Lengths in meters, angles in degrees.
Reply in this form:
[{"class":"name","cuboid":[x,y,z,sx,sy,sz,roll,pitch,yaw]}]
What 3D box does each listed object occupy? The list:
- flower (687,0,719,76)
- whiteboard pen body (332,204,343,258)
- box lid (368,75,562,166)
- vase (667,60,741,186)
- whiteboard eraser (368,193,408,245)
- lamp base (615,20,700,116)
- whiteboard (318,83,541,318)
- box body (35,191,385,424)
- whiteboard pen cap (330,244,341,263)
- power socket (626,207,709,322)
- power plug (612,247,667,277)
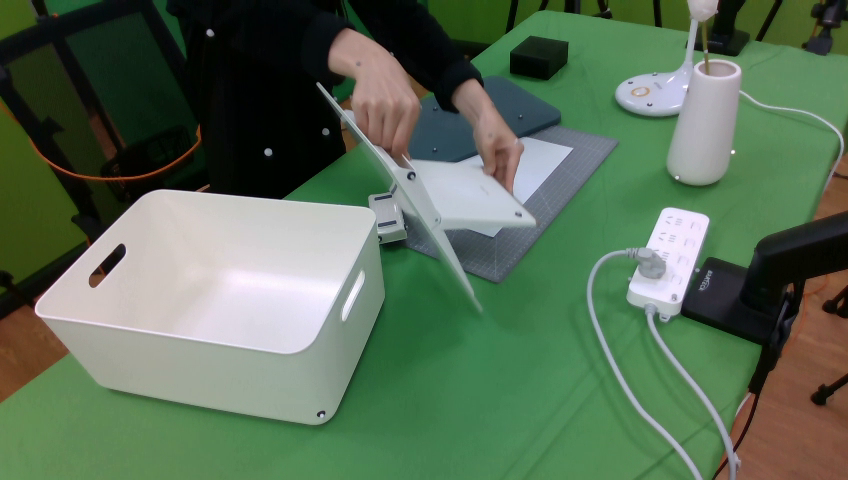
[{"class":"flower","cuboid":[0.436,-0.242,0.934,0.038,0.364,0.043,-24,49,8]},{"class":"whiteboard pen body","cuboid":[-0.146,-0.016,1.020,0.017,0.017,0.140,-7,40,0]},{"class":"box lid","cuboid":[0.075,-0.249,1.267,0.373,0.015,0.261,-23,42,-18]},{"class":"vase","cuboid":[0.463,-0.189,0.994,0.098,0.201,0.097,-4,40,4]},{"class":"whiteboard eraser","cuboid":[-0.061,-0.035,1.006,0.056,0.042,0.112,-9,40,-3]},{"class":"lamp base","cuboid":[0.484,-0.364,1.211,0.180,0.181,0.159,-15,41,-14]},{"class":"whiteboard","cuboid":[0.026,-0.083,0.785,0.144,0.308,0.215,-35,44,-2]},{"class":"box body","cuboid":[-0.254,0.081,0.807,0.363,0.161,0.253,5,42,14]},{"class":"whiteboard pen cap","cuboid":[-0.142,0.021,0.975,0.018,0.018,0.033,-7,39,0]},{"class":"power socket","cuboid":[0.360,0.026,0.886,0.072,0.033,0.227,17,46,26]},{"class":"power plug","cuboid":[0.306,0.031,0.852,0.072,0.053,0.035,21,48,38]}]
